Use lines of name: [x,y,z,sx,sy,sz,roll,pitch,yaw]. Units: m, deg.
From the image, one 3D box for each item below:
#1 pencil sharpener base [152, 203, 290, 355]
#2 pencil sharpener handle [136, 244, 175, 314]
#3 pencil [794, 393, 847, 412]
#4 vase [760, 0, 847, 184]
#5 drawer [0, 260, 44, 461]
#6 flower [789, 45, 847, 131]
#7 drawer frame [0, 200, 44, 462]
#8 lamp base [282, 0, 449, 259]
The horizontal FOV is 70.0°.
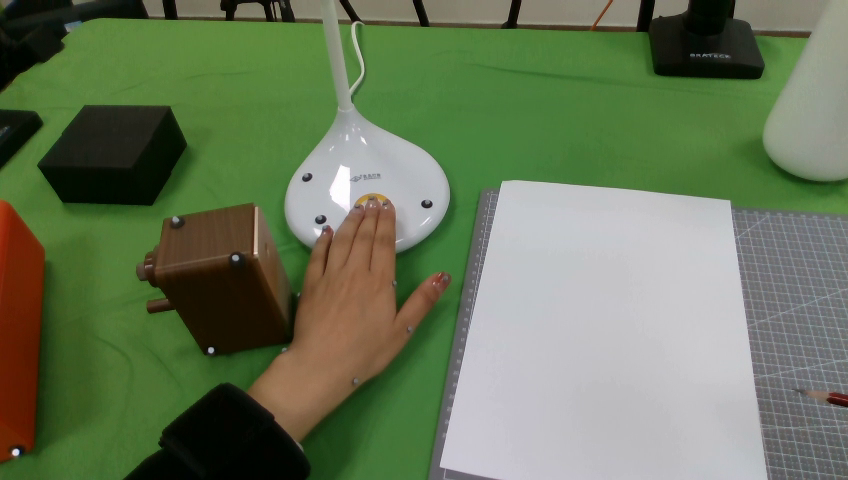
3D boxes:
pencil sharpener base: [-0.153,0.033,0.468,0.077,0.108,0.060,-10,48,-4]
pencil sharpener handle: [-0.204,0.033,0.456,0.031,0.068,0.035,-10,50,-4]
pencil: [0.285,0.098,0.290,0.192,0.012,0.012,6,41,48]
vase: [0.370,-0.147,0.529,0.098,0.202,0.097,-3,46,3]
drawer: [-0.407,0.091,0.455,0.195,0.074,0.209,-19,47,-11]
flower: [0.355,-0.188,0.456,0.038,0.364,0.043,-37,67,-9]
drawer frame: [-0.410,0.088,0.455,0.202,0.083,0.211,-19,48,-12]
lamp base: [-0.066,-0.103,0.537,0.161,0.182,0.177,-18,46,-12]
